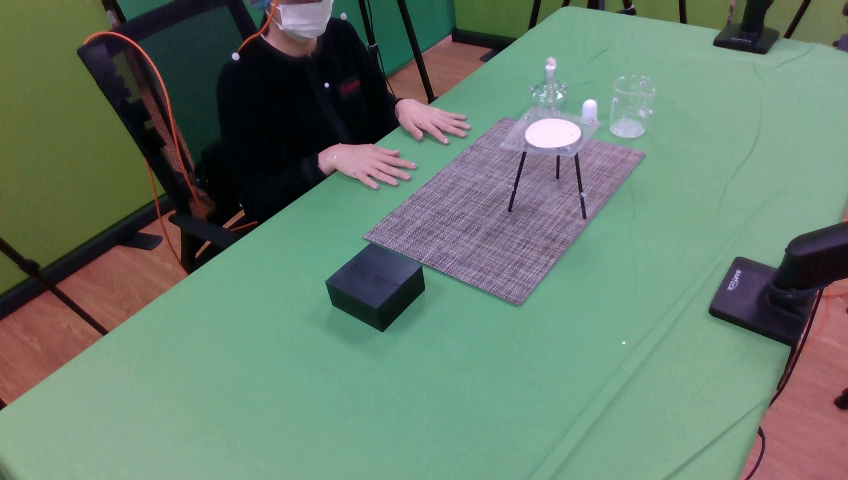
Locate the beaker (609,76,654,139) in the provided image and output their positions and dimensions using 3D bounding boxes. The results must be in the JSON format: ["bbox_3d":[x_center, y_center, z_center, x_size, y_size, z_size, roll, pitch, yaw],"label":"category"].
[{"bbox_3d":[0.393,-0.248,1.144,0.074,0.101,0.083,-32,47,-24],"label":"beaker"}]

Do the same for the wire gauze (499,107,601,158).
[{"bbox_3d":[0.198,-0.168,0.943,0.120,0.011,0.125,17,47,27],"label":"wire gauze"}]

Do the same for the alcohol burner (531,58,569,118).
[{"bbox_3d":[0.255,-0.311,1.227,0.078,0.119,0.077,-6,41,6],"label":"alcohol burner"}]

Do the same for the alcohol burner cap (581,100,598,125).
[{"bbox_3d":[0.331,-0.258,1.210,0.034,0.048,0.033,-5,41,5],"label":"alcohol burner cap"}]

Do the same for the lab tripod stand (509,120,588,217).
[{"bbox_3d":[0.207,-0.114,0.983,0.148,0.132,0.147,-5,42,5],"label":"lab tripod stand"}]
